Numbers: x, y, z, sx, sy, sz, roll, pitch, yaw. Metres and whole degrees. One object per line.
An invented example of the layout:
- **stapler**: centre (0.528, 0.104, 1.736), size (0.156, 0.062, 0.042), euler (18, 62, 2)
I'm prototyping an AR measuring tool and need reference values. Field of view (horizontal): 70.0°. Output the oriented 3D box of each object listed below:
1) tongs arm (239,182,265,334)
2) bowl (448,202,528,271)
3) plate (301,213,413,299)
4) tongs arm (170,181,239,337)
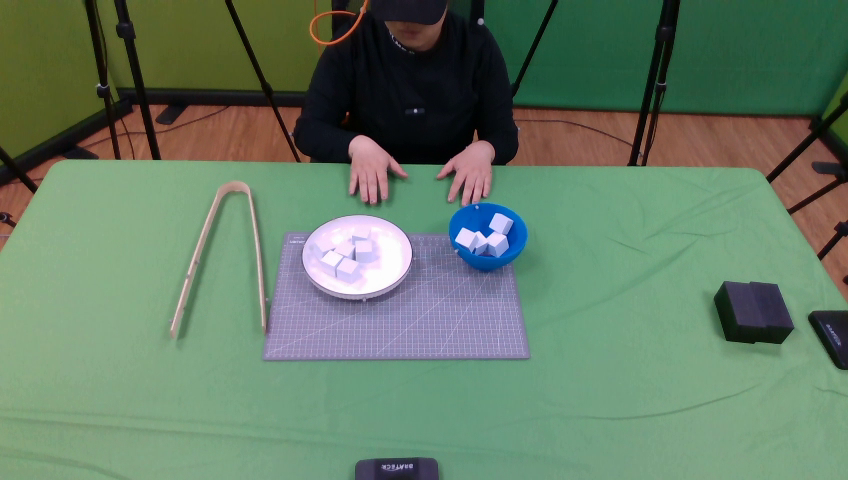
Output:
- **tongs arm**: centre (-0.325, 0.019, 1.151), size (0.028, 0.028, 0.384), euler (-11, 48, -11)
- **bowl**: centre (0.118, 0.006, 1.160), size (0.151, 0.077, 0.150), euler (2, 46, -2)
- **plate**: centre (-0.124, 0.033, 1.143), size (0.208, 0.039, 0.206), euler (2, 46, -2)
- **tongs arm**: centre (-0.403, 0.021, 1.138), size (0.051, 0.026, 0.382), euler (1, 45, -5)
